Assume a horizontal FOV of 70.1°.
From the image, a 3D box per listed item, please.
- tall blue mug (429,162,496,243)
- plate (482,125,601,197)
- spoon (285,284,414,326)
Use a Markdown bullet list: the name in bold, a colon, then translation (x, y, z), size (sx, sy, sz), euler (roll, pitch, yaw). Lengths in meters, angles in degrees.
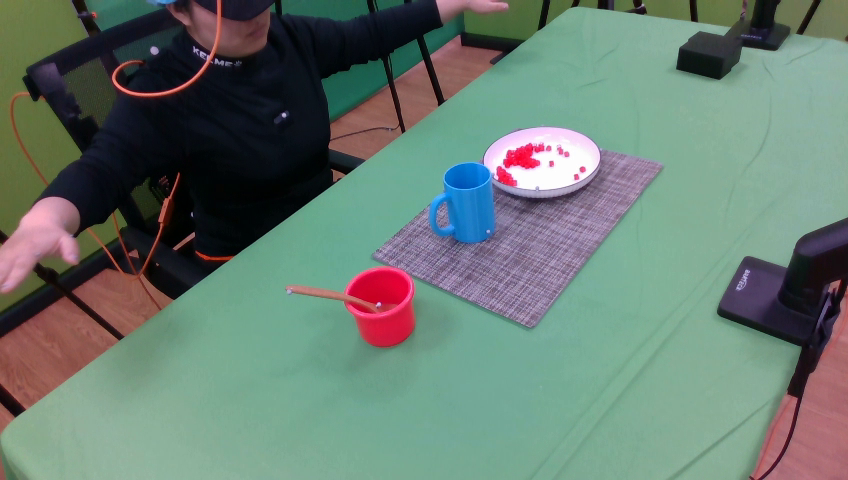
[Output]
- **tall blue mug**: translation (0.066, -0.051, 0.960), size (0.077, 0.108, 0.107), euler (17, 47, 27)
- **plate**: translation (0.210, -0.138, 1.091), size (0.207, 0.039, 0.206), euler (-5, 40, 5)
- **spoon**: translation (-0.096, 0.083, 0.812), size (0.195, 0.021, 0.041), euler (22, 31, -34)
